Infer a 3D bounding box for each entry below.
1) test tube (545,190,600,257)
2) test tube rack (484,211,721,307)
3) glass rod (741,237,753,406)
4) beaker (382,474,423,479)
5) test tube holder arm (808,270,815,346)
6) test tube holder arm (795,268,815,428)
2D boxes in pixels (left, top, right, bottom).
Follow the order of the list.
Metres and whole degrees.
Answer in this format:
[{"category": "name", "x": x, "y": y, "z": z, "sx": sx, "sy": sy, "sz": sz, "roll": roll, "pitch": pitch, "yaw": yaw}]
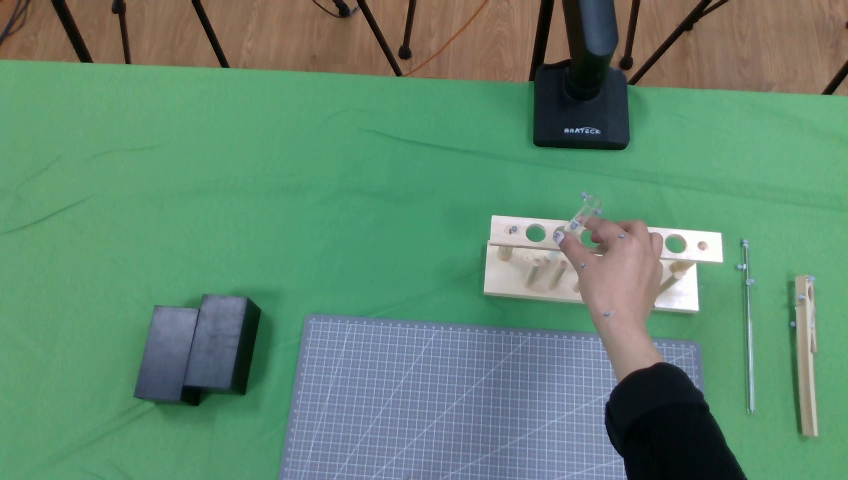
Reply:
[{"category": "test tube", "x": 0.154, "y": -0.013, "z": 0.640, "sx": 0.017, "sy": 0.151, "sz": 0.017, "roll": 2, "pitch": 68, "yaw": -4}, {"category": "test tube rack", "x": 0.192, "y": 0.022, "z": 0.678, "sx": 0.242, "sy": 0.086, "sz": 0.066, "roll": 4, "pitch": 69, "yaw": 4}, {"category": "glass rod", "x": 0.366, "y": 0.088, "z": 0.688, "sx": 0.008, "sy": 0.008, "sz": 0.198, "roll": 8, "pitch": 69, "yaw": 5}, {"category": "beaker", "x": -0.014, "y": 0.264, "z": 0.581, "sx": 0.084, "sy": 0.101, "sz": 0.073, "roll": 8, "pitch": 69, "yaw": 5}, {"category": "test tube holder arm", "x": 0.433, "y": 0.076, "z": 0.685, "sx": 0.010, "sy": 0.015, "sz": 0.087, "roll": 21, "pitch": 68, "yaw": -22}, {"category": "test tube holder arm", "x": 0.419, "y": 0.116, "z": 0.667, "sx": 0.013, "sy": 0.015, "sz": 0.177, "roll": 21, "pitch": 68, "yaw": -22}]
